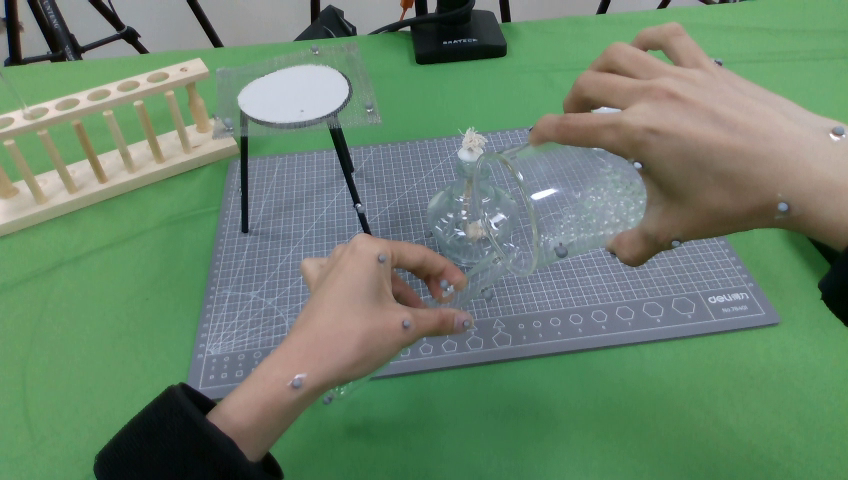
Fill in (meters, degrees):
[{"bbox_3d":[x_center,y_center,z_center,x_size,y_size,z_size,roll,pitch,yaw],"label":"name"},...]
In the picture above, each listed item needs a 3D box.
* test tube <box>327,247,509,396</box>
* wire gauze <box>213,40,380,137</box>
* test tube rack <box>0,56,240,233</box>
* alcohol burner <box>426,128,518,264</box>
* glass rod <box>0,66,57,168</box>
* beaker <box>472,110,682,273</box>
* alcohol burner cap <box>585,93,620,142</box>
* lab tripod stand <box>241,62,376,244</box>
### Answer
[{"bbox_3d":[-0.007,0.055,0.389,0.150,0.017,0.017,-40,44,14],"label":"test tube"},{"bbox_3d":[-0.105,-0.121,0.481,0.125,0.011,0.120,-11,45,-6],"label":"wire gauze"},{"bbox_3d":[-0.323,-0.100,0.609,0.243,0.086,0.066,-24,48,-20],"label":"test tube rack"},{"bbox_3d":[0.039,-0.039,0.498,0.078,0.120,0.077,-2,42,2],"label":"alcohol burner"},{"bbox_3d":[-0.374,-0.134,0.550,0.008,0.201,0.008,-1,48,2],"label":"glass rod"},{"bbox_3d":[0.089,-0.029,0.354,0.100,0.085,0.073,-18,52,-14],"label":"beaker"},{"bbox_3d":[0.188,-0.130,0.634,0.034,0.048,0.033,-2,44,2],"label":"alcohol burner cap"},{"bbox_3d":[-0.102,-0.073,0.528,0.148,0.133,0.147,-2,46,3],"label":"lab tripod stand"}]
